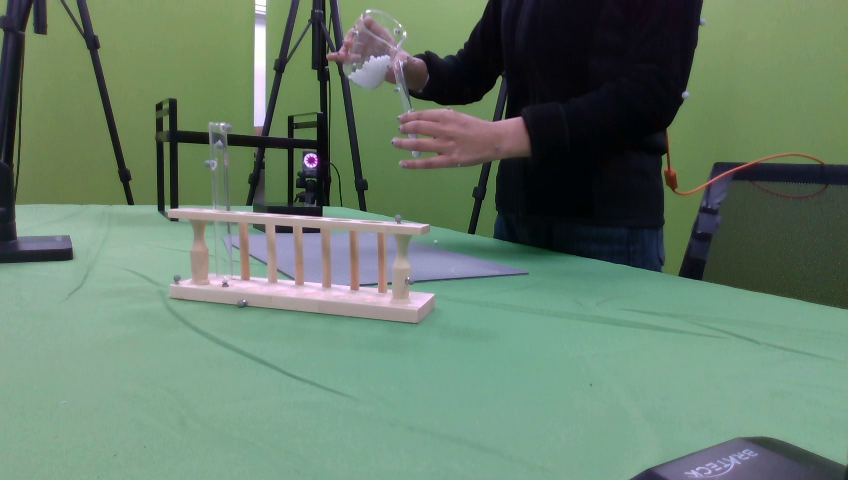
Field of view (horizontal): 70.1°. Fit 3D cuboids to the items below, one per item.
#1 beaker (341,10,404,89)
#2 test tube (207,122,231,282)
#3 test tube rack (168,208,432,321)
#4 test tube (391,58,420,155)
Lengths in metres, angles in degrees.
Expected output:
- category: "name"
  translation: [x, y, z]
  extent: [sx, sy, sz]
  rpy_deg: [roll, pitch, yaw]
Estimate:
- category: "beaker"
  translation: [-0.083, -0.295, 0.952]
  extent: [0.074, 0.083, 0.100]
  rpy_deg: [-18, -25, -38]
- category: "test tube"
  translation: [-0.191, -0.034, 0.565]
  extent: [0.017, 0.150, 0.017]
  rpy_deg: [1, 11, 0]
- category: "test tube rack"
  translation: [-0.116, 0.018, 0.574]
  extent: [0.242, 0.085, 0.067]
  rpy_deg: [4, 8, 13]
- category: "test tube"
  translation: [-0.027, -0.197, 0.892]
  extent: [0.017, 0.150, 0.017]
  rpy_deg: [-12, -7, -1]
